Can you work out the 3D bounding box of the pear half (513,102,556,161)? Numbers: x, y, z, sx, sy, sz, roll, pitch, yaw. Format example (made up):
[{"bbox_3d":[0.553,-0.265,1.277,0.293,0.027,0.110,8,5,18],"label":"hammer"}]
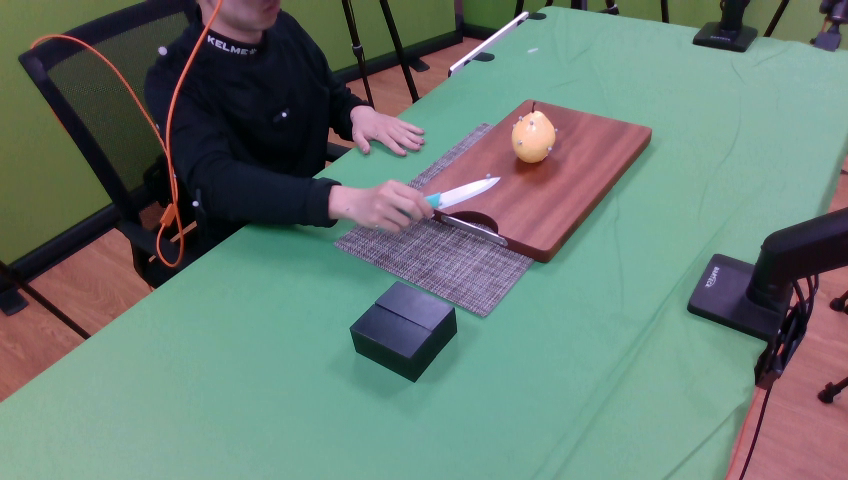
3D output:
[{"bbox_3d":[0.196,-0.198,1.060,0.076,0.110,0.056,13,44,17],"label":"pear half"}]

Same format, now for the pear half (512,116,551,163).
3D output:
[{"bbox_3d":[0.182,-0.169,1.043,0.070,0.088,0.031,13,45,18],"label":"pear half"}]

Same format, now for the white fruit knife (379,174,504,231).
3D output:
[{"bbox_3d":[0.022,-0.060,0.908,0.207,0.027,0.016,-20,7,14],"label":"white fruit knife"}]
